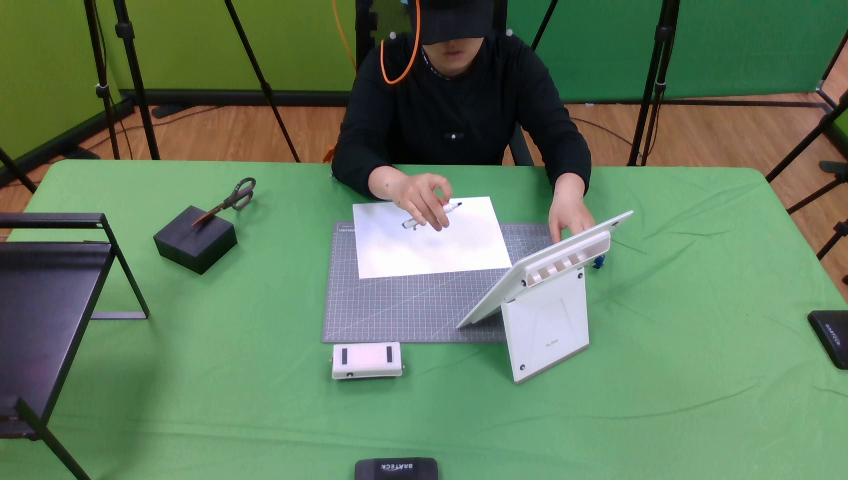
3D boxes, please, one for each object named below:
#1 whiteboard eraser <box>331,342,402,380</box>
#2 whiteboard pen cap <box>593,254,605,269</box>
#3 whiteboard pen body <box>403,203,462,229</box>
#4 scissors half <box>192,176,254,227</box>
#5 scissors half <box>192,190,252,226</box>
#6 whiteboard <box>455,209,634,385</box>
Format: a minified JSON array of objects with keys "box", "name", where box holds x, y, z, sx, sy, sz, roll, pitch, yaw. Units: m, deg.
[{"box":[-0.094,0.198,0.986,0.113,0.042,0.055,-2,44,-6],"name":"whiteboard eraser"},{"box":[0.340,0.041,1.179,0.018,0.033,0.018,1,45,0],"name":"whiteboard pen cap"},{"box":[0.014,-0.044,1.073,0.140,0.017,0.017,-19,30,41],"name":"whiteboard pen body"},{"box":[-0.388,-0.075,1.174,0.013,0.040,0.174,29,47,8],"name":"scissors half"},{"box":[-0.393,-0.060,1.187,0.013,0.040,0.175,25,29,12],"name":"scissors half"},{"box":[0.211,0.111,0.955,0.217,0.306,0.143,-21,71,-23],"name":"whiteboard"}]
